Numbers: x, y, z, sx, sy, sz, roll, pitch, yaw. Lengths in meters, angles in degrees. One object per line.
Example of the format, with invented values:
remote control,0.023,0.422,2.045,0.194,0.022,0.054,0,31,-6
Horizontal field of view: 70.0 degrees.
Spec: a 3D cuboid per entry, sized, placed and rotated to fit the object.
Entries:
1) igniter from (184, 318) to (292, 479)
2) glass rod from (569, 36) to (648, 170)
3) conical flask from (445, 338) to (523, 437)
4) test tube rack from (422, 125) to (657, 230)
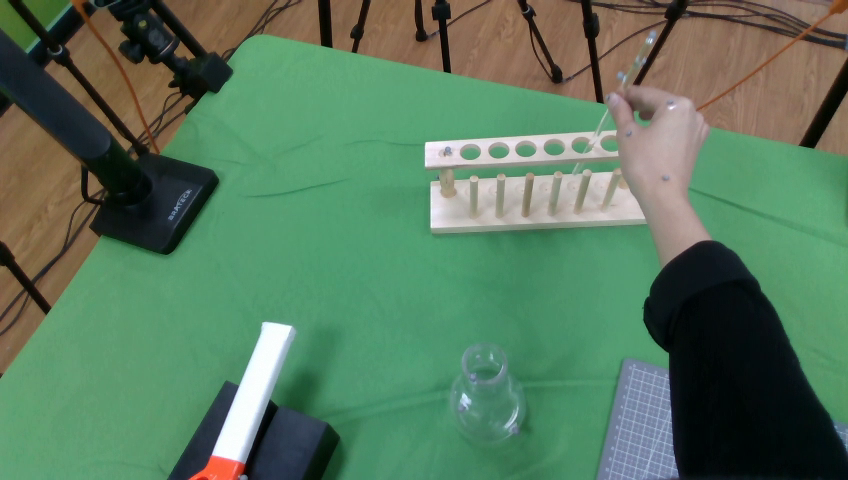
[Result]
igniter,-0.176,0.196,0.521,0.057,0.025,0.274,7,60,15
glass rod,0.173,-0.123,0.588,0.008,0.201,0.008,2,64,-4
conical flask,0.052,0.125,0.537,0.075,0.123,0.074,-3,60,5
test tube rack,0.122,-0.066,0.661,0.242,0.086,0.066,-2,60,4
